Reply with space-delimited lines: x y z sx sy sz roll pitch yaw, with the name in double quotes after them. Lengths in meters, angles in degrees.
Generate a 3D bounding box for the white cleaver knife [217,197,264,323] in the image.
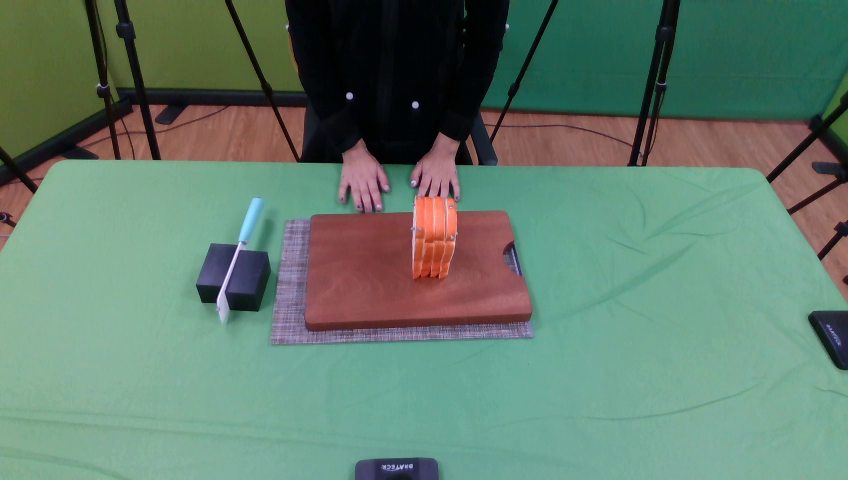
-0.341 0.027 1.118 0.021 0.066 0.284 9 45 -3 "white cleaver knife"

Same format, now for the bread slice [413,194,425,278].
-0.010 -0.015 1.095 0.018 0.135 0.106 0 43 -3 "bread slice"

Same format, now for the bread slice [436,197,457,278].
0.040 -0.010 1.097 0.019 0.132 0.104 4 48 -7 "bread slice"
